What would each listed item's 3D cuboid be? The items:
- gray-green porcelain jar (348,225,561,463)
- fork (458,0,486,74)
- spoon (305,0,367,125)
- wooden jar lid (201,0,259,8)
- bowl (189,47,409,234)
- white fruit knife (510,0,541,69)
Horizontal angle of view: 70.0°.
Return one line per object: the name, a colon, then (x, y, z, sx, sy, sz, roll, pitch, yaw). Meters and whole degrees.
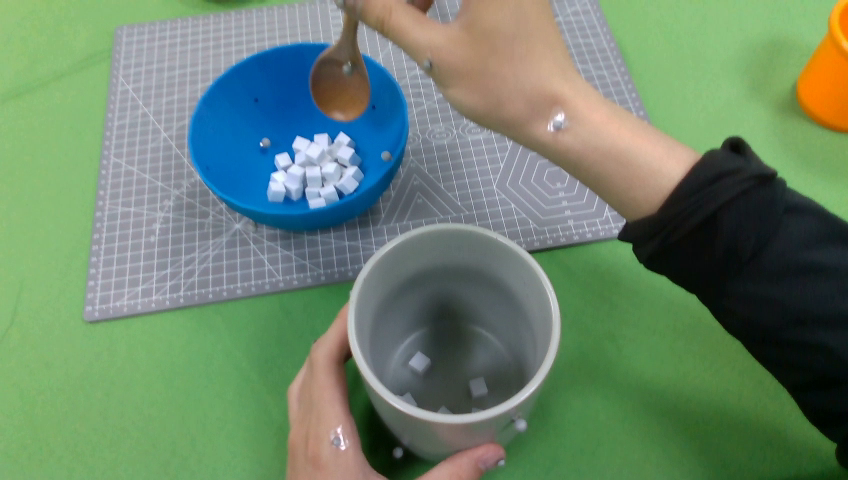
gray-green porcelain jar: (0.017, 0.067, 0.349, 0.106, 0.127, 0.105, -1, 60, 2)
fork: (0.028, -0.247, 0.547, 0.028, 0.019, 0.206, -11, 80, -8)
spoon: (-0.038, -0.117, 0.327, 0.042, 0.194, 0.021, 27, 68, -6)
wooden jar lid: (-0.190, -0.270, 0.604, 0.108, 0.021, 0.107, 0, 61, 0)
bowl: (-0.084, -0.059, 0.446, 0.151, 0.077, 0.150, -1, 61, 1)
white fruit knife: (0.077, -0.253, 0.551, 0.016, 0.027, 0.206, -9, 75, -6)
